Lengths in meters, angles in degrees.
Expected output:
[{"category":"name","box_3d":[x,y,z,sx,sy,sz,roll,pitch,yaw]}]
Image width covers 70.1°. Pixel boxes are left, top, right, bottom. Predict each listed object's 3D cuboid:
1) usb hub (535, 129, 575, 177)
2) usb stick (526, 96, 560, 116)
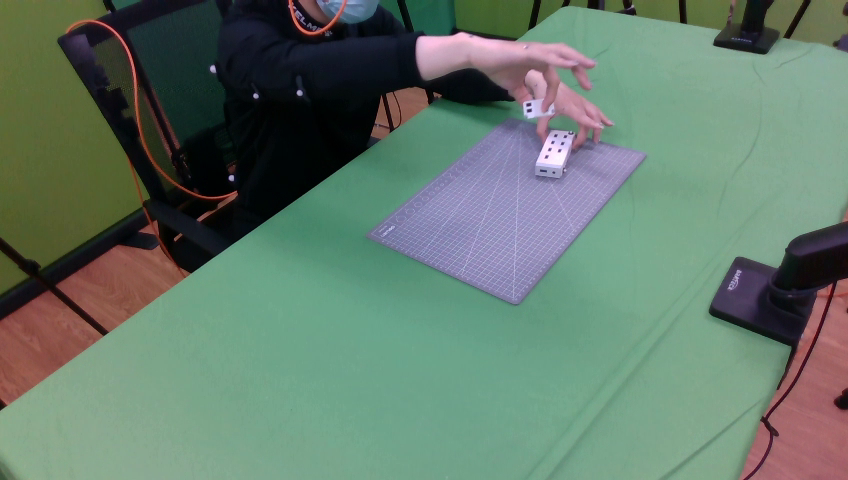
[{"category":"usb hub","box_3d":[0.243,-0.161,1.116,0.049,0.025,0.125,10,44,20]},{"category":"usb stick","box_3d":[0.181,-0.202,0.909,0.059,0.027,0.021,-12,9,-36]}]
